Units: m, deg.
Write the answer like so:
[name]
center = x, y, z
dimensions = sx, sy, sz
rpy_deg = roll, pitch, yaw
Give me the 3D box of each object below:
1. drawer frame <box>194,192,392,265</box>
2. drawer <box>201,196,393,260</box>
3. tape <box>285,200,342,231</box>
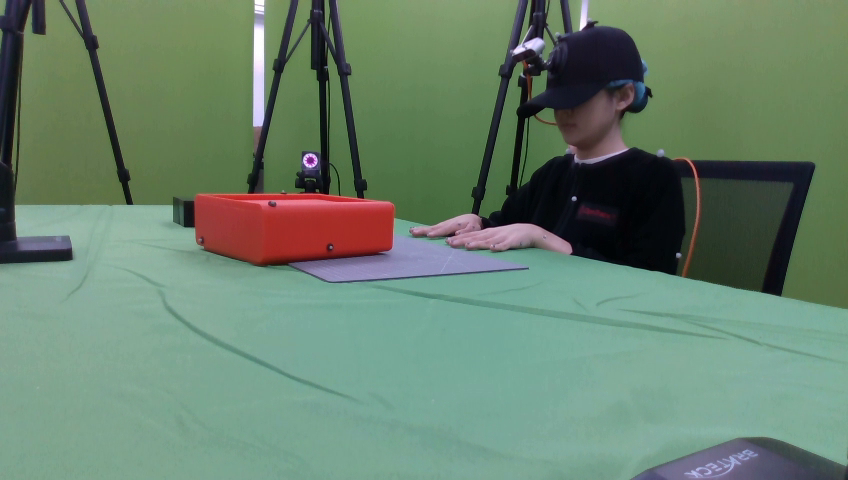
[drawer frame]
center = -0.190, -0.024, 0.882
dimensions = 0.215, 0.082, 0.200
rpy_deg = -5, 11, -44
[drawer]
center = -0.186, -0.022, 0.886
dimensions = 0.213, 0.073, 0.193
rpy_deg = -5, 12, -43
[tape]
center = -0.223, -0.051, 1.221
dimensions = 0.117, 0.052, 0.117
rpy_deg = 3, 7, 0
